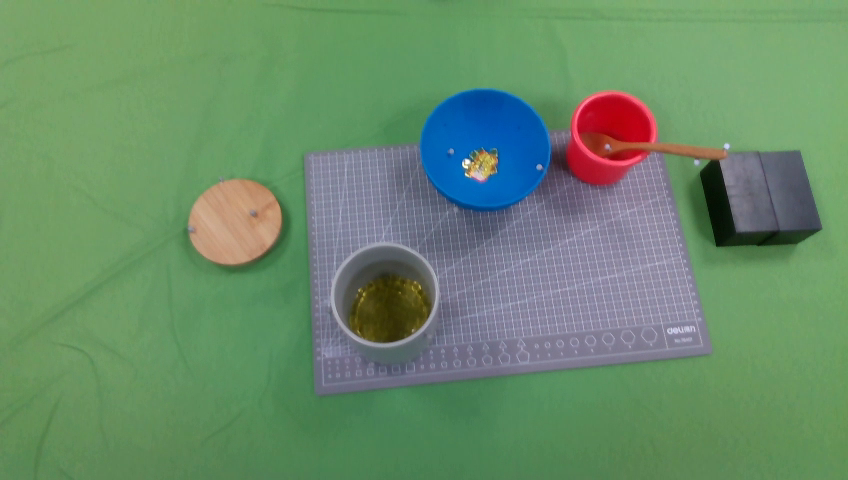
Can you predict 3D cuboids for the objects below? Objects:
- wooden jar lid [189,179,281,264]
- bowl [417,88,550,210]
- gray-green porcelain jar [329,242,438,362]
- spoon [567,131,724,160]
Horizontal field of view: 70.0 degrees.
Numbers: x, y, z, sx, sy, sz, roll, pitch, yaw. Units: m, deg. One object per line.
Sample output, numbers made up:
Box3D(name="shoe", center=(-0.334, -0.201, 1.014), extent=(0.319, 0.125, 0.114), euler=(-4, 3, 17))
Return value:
Box3D(name="wooden jar lid", center=(-0.225, -0.021, 0.728), extent=(0.108, 0.021, 0.107), euler=(0, 71, 0))
Box3D(name="bowl", center=(0.068, -0.095, 0.721), extent=(0.151, 0.077, 0.150), euler=(0, 71, 0))
Box3D(name="gray-green porcelain jar", center=(-0.039, 0.071, 0.639), extent=(0.106, 0.127, 0.105), euler=(0, 71, 0))
Box3D(name="spoon", center=(0.244, -0.104, 0.690), extent=(0.022, 0.192, 0.041), euler=(42, 74, -35))
